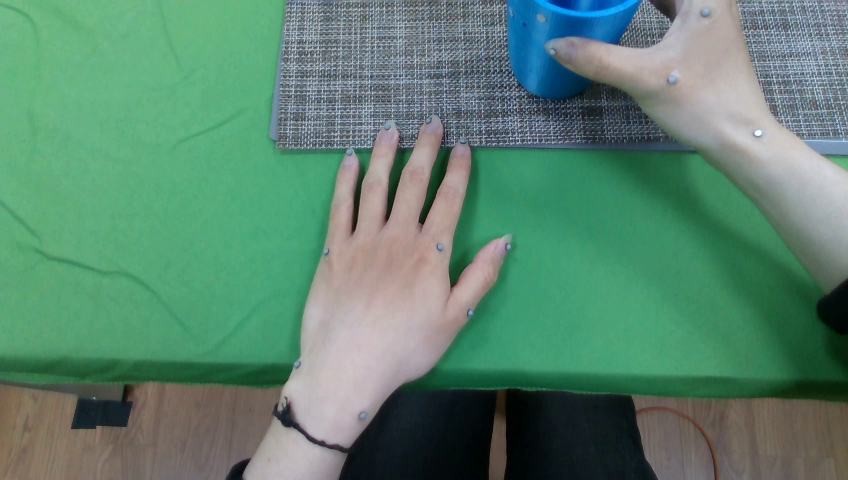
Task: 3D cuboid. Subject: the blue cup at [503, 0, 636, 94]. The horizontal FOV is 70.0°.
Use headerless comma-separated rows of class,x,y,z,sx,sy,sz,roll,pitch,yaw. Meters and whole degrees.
blue cup,0.090,-0.147,0.391,0.092,0.101,0.092,-1,70,2
